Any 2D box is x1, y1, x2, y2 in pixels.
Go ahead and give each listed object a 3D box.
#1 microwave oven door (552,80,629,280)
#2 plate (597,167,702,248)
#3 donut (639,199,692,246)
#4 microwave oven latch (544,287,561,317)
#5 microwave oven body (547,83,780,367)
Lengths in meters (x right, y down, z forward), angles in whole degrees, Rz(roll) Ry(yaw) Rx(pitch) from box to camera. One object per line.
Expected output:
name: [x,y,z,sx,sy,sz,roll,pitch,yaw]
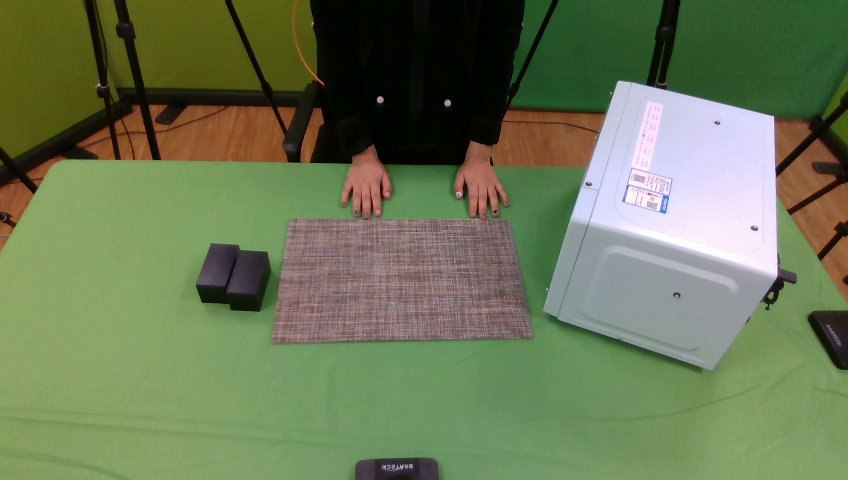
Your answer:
microwave oven door: [0.324,-0.116,1.156,0.039,0.245,0.354,18,48,13]
plate: [0.432,-0.061,1.176,0.209,0.038,0.208,7,47,-8]
donut: [0.461,-0.034,1.159,0.099,0.048,0.098,1,62,-1]
microwave oven latch: [0.237,0.098,1.087,0.030,0.029,0.079,17,47,13]
microwave oven body: [0.445,-0.041,1.101,0.325,0.261,0.440,17,47,13]
